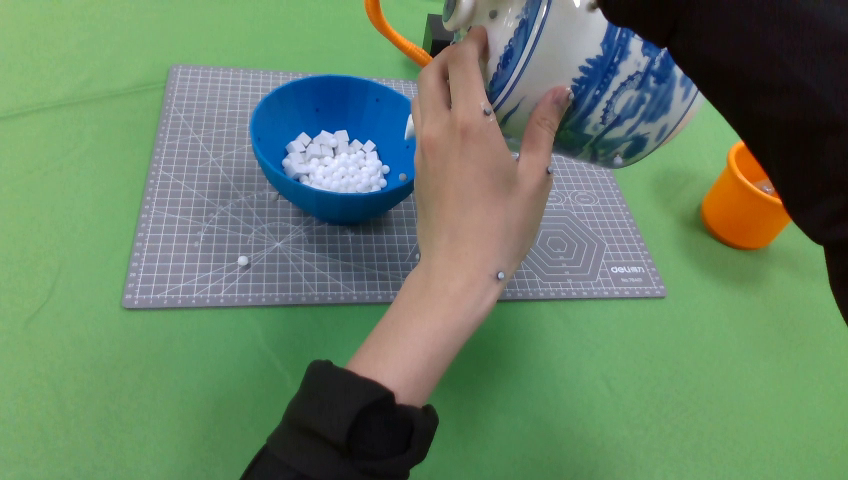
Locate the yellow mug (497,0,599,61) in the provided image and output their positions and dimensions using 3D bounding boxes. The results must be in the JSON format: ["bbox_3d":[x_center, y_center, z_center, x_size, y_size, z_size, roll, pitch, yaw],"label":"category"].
[{"bbox_3d":[0.130,-0.245,0.660,0.099,0.064,0.130,27,52,10],"label":"yellow mug"}]

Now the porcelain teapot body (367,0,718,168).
[{"bbox_3d":[0.060,-0.126,0.434,0.226,0.206,0.144,11,55,-20],"label":"porcelain teapot body"}]

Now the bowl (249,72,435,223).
[{"bbox_3d":[-0.071,-0.068,0.523,0.152,0.077,0.150,6,50,-7],"label":"bowl"}]

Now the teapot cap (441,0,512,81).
[{"bbox_3d":[0.034,-0.149,0.400,0.044,0.085,0.084,8,49,-19],"label":"teapot cap"}]

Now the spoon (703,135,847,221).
[{"bbox_3d":[0.365,-0.071,0.580,0.022,0.193,0.041,36,32,-44],"label":"spoon"}]
